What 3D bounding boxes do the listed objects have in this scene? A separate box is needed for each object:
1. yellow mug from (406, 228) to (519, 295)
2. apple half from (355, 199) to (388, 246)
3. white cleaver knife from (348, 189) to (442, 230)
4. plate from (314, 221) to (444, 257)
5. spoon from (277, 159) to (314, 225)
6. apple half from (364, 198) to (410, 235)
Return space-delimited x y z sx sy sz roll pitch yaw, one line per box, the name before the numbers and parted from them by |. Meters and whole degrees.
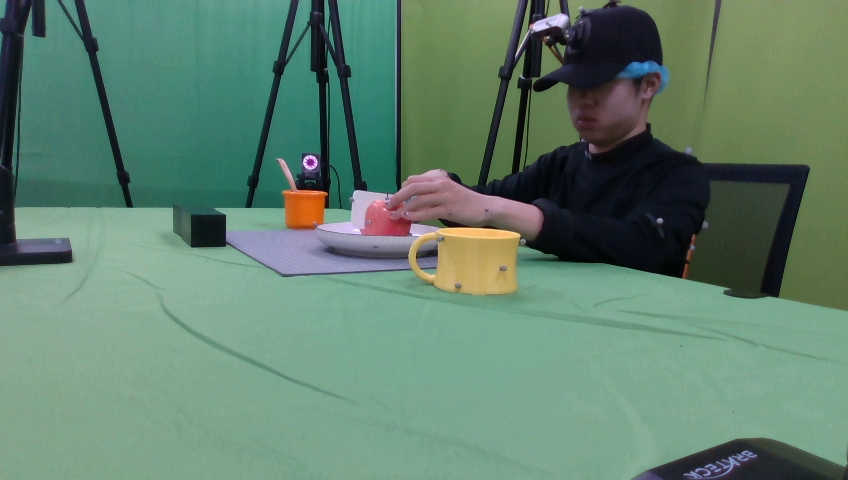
yellow mug | 0.044 0.022 0.706 0.131 0.064 0.100 2 7 5
apple half | -0.088 -0.028 0.942 0.032 0.081 0.081 4 7 26
white cleaver knife | -0.044 -0.048 0.994 0.021 0.066 0.288 4 4 29
plate | -0.067 -0.002 0.948 0.209 0.038 0.209 3 7 0
spoon | -0.272 -0.103 1.260 0.042 0.193 0.021 -4 -34 -33
apple half | -0.050 -0.025 0.925 0.053 0.074 0.081 12 8 25
